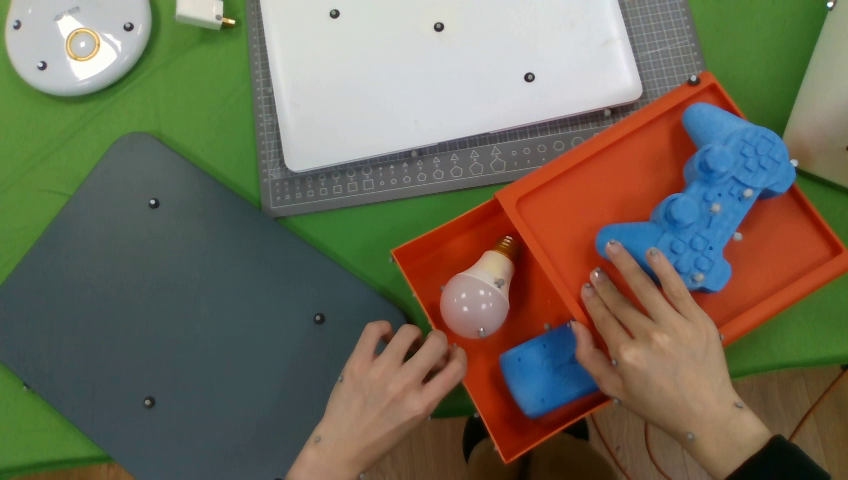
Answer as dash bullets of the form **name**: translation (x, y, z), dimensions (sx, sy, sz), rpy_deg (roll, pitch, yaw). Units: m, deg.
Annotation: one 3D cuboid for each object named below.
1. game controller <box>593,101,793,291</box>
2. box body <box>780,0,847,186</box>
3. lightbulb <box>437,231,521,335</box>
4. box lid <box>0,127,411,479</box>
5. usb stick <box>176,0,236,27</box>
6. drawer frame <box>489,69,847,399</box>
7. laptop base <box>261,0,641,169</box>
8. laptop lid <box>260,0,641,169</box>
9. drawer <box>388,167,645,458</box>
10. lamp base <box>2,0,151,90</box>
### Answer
- **game controller**: translation (0.213, -0.033, 0.472), dimensions (0.097, 0.052, 0.155), rpy_deg (36, 84, 7)
- **box body**: translation (0.494, -0.196, 0.498), dimensions (0.253, 0.161, 0.363), rpy_deg (24, 80, 10)
- **lightbulb**: translation (0.054, 0.034, 0.536), dimensions (0.059, 0.060, 0.107), rpy_deg (30, 67, 11)
- **box lid**: translation (-0.226, 0.077, 0.574), dimensions (0.370, 0.015, 0.263), rpy_deg (34, 82, 10)
- **usb stick**: translation (-0.226, -0.240, 0.631), dimensions (0.059, 0.021, 0.027), rpy_deg (8, 80, -27)
- **drawer frame**: translation (0.195, -0.005, 0.520), dimensions (0.213, 0.083, 0.200), rpy_deg (-30, 76, -2)
- **laptop base**: translation (0.017, -0.212, 0.616), dimensions (0.354, 0.023, 0.234), rpy_deg (-11, 80, 2)
- **laptop lid**: translation (0.016, -0.213, 0.604), dimensions (0.357, 0.013, 0.240), rpy_deg (-10, 79, 3)
- **drawer**: translation (0.106, 0.045, 0.519), dimensions (0.212, 0.073, 0.193), rpy_deg (-29, 75, -1)
- **lamp base**: translation (-0.386, -0.263, 0.578), dimensions (0.160, 0.181, 0.178), rpy_deg (-37, 74, -4)
